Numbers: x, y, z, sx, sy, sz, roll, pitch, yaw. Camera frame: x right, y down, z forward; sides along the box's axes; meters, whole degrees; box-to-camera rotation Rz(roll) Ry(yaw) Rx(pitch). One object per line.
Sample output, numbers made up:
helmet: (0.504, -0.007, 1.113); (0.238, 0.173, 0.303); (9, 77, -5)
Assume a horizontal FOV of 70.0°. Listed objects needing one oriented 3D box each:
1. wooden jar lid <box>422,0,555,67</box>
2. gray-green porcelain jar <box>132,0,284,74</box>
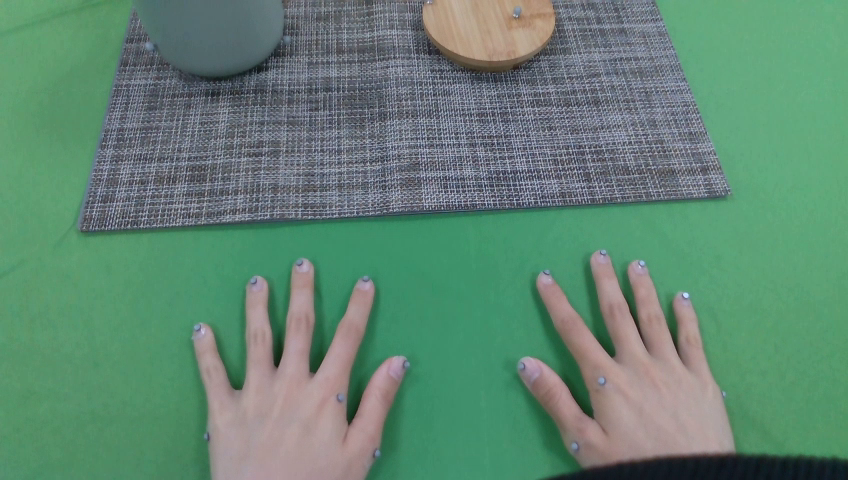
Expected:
wooden jar lid: (0.052, -0.182, 0.499); (0.108, 0.021, 0.107); (0, 59, 0)
gray-green porcelain jar: (-0.162, -0.195, 0.439); (0.106, 0.127, 0.105); (1, 60, -1)
